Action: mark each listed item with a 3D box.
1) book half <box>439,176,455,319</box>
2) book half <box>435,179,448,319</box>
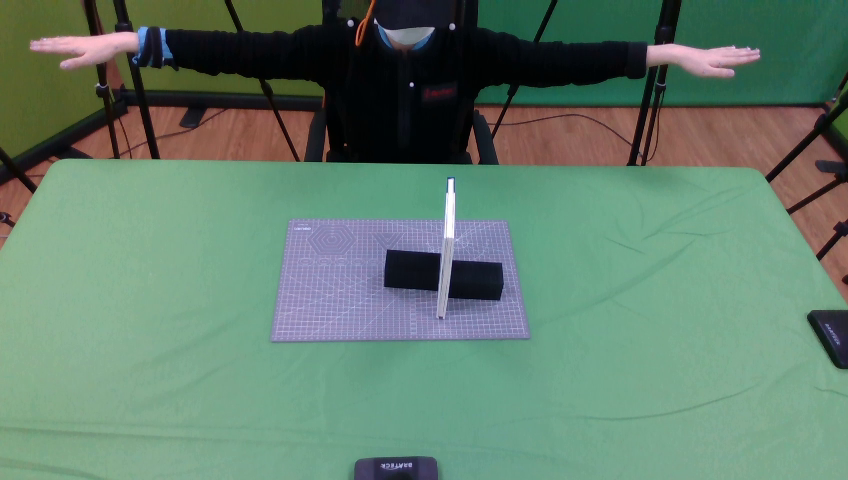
[{"bbox_3d":[0.038,0.017,1.047,0.016,0.211,0.147,3,46,0],"label":"book half"},{"bbox_3d":[0.031,0.019,1.045,0.007,0.211,0.142,4,46,1],"label":"book half"}]
